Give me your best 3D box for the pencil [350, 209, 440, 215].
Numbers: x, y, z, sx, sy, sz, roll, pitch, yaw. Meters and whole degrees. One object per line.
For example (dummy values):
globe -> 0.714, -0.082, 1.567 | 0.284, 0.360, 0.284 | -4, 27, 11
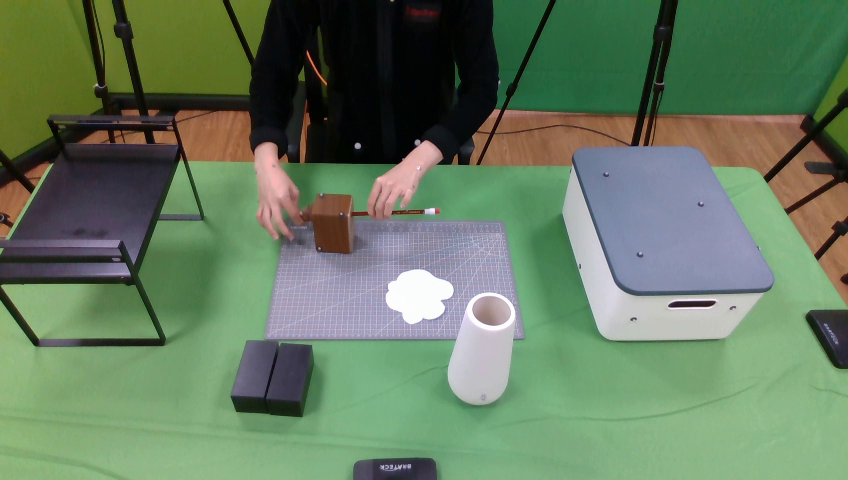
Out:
pencil -> -0.067, -0.052, 1.136 | 0.194, 0.012, 0.012 | -1, 47, -3

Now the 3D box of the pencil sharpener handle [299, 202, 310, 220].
pencil sharpener handle -> -0.226, -0.052, 1.147 | 0.030, 0.068, 0.036 | 4, 74, 0

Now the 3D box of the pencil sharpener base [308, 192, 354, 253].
pencil sharpener base -> -0.176, -0.033, 1.152 | 0.077, 0.107, 0.061 | 4, 46, 0

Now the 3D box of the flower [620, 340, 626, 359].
flower -> 0.416, 0.065, 1.186 | 0.038, 0.044, 0.360 | 29, 64, -20

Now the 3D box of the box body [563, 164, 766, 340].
box body -> 0.421, 0.003, 1.130 | 0.254, 0.161, 0.361 | 0, 46, -5

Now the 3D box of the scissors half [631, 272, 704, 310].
scissors half -> 0.460, 0.092, 1.132 | 0.175, 0.040, 0.013 | -22, 83, -21

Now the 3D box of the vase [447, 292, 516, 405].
vase -> 0.091, 0.168, 0.921 | 0.098, 0.201, 0.097 | 3, 47, -3

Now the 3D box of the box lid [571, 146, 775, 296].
box lid -> 0.424, -0.048, 1.074 | 0.263, 0.015, 0.369 | -1, 46, -4

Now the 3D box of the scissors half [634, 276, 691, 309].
scissors half -> 0.454, 0.096, 1.144 | 0.175, 0.040, 0.013 | -20, 88, -31
